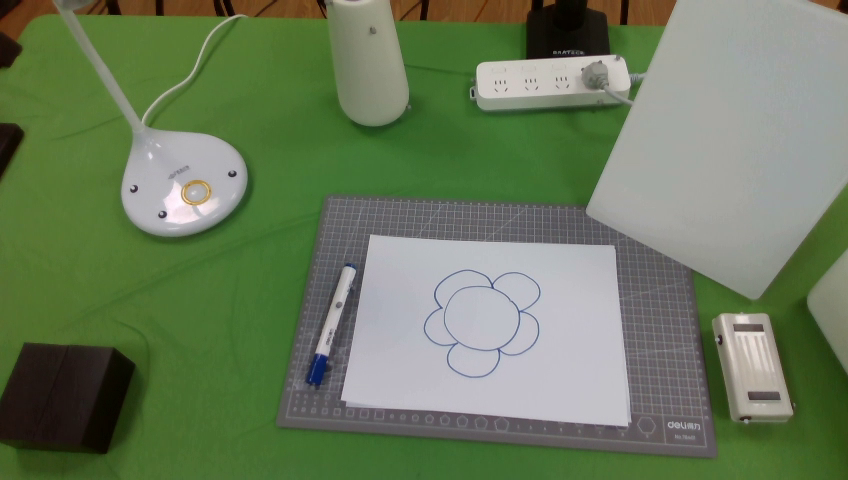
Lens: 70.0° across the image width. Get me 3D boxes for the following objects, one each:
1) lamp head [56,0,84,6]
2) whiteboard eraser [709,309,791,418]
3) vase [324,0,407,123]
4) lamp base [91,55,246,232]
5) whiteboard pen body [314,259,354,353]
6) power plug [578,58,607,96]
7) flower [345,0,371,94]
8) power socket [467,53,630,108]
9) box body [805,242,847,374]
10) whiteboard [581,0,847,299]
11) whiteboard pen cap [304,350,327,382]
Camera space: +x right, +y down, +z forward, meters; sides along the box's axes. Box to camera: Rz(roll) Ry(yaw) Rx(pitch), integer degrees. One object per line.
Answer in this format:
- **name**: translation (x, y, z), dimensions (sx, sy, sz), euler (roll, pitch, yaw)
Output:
- **lamp head**: translation (-0.293, -0.265, 0.474), dimensions (0.123, 0.112, 0.112), euler (43, 64, -17)
- **whiteboard eraser**: translation (0.336, 0.128, 0.631), dimensions (0.055, 0.042, 0.111), euler (1, 60, 2)
- **vase**: translation (-0.078, -0.244, 0.776), dimensions (0.098, 0.202, 0.097), euler (-2, 59, 3)
- **lamp base**: translation (-0.327, -0.125, 0.729), dimensions (0.178, 0.182, 0.160), euler (33, 66, 23)
- **whiteboard pen body**: translation (-0.104, 0.085, 0.684), dimensions (0.017, 0.017, 0.140), euler (10, 63, 9)
- **power plug**: translation (0.225, -0.211, 0.813), dimensions (0.035, 0.053, 0.072), euler (7, 67, 7)
- **flower**: translation (-0.063, -0.278, 0.700), dimensions (0.044, 0.363, 0.038), euler (-35, 81, -26)
- **power socket**: translation (0.174, -0.224, 0.849), dimensions (0.227, 0.033, 0.071), euler (-2, 60, 1)
- **box body**: translation (0.568, 0.133, 0.546), dimensions (0.254, 0.162, 0.360), euler (-13, 60, -5)
- **whiteboard**: translation (0.346, -0.127, 0.662), dimensions (0.216, 0.308, 0.143), euler (31, 45, 20)
- **whiteboard pen cap**: translation (-0.117, 0.136, 0.658), dimensions (0.018, 0.018, 0.033), euler (10, 63, 9)
